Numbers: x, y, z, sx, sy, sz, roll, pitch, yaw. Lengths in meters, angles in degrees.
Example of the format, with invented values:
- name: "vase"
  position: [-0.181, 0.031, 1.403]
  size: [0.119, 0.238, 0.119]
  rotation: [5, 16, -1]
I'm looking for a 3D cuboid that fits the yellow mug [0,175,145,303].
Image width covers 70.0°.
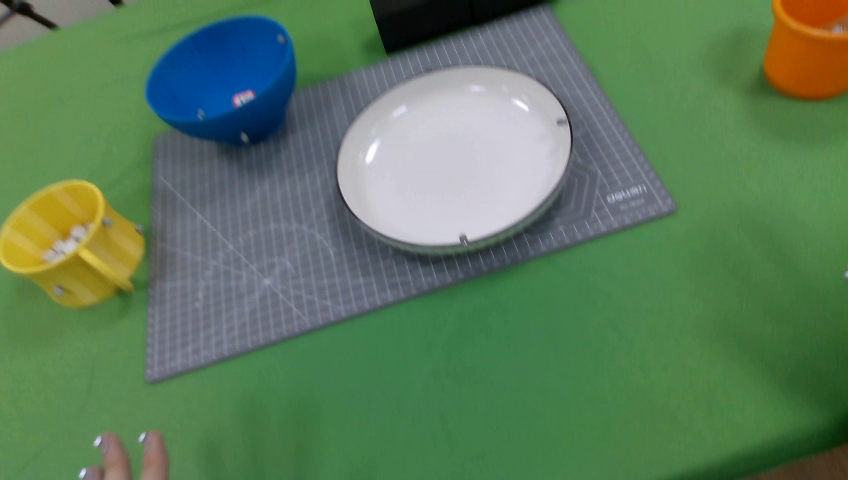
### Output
- name: "yellow mug"
  position: [-0.309, 0.005, 0.547]
  size: [0.130, 0.064, 0.099]
  rotation: [27, 68, 26]

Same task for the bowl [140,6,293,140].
- name: "bowl"
  position: [-0.194, -0.155, 0.611]
  size: [0.151, 0.077, 0.150]
  rotation: [-7, 57, 10]

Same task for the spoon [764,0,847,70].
- name: "spoon"
  position: [0.356, -0.201, 0.465]
  size: [0.022, 0.194, 0.041]
  rotation: [11, 54, -32]

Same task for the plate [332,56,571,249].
- name: "plate"
  position: [0.023, -0.077, 0.531]
  size: [0.209, 0.038, 0.207]
  rotation: [-6, 57, 10]
